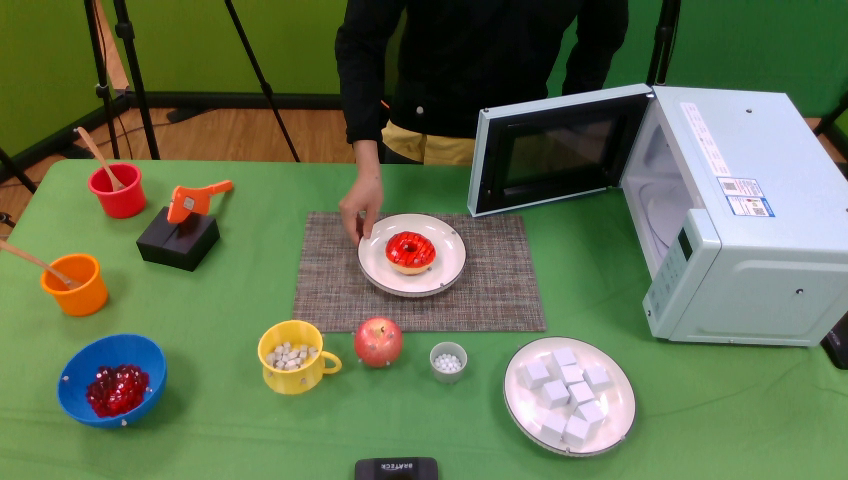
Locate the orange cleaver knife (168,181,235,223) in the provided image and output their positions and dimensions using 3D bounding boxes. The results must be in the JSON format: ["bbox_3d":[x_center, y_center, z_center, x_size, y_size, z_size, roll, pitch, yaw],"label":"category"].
[{"bbox_3d":[-0.436,-0.078,1.196,0.012,0.077,0.211,16,15,10],"label":"orange cleaver knife"}]

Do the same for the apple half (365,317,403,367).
[{"bbox_3d":[-0.063,0.165,1.000,0.053,0.075,0.080,-16,45,-24],"label":"apple half"}]

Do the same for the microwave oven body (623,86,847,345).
[{"bbox_3d":[0.567,-0.053,1.118,0.326,0.261,0.439,2,45,-1],"label":"microwave oven body"}]

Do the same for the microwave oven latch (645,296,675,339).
[{"bbox_3d":[0.412,0.134,1.061,0.030,0.029,0.078,3,45,0],"label":"microwave oven latch"}]

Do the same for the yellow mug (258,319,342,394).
[{"bbox_3d":[-0.195,0.188,0.972,0.131,0.064,0.099,9,47,4],"label":"yellow mug"}]

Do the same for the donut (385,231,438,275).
[{"bbox_3d":[-0.024,0.024,1.142,0.099,0.048,0.098,3,44,-2],"label":"donut"}]

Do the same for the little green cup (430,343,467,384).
[{"bbox_3d":[0.039,0.203,0.994,0.061,0.039,0.061,2,46,-2],"label":"little green cup"}]

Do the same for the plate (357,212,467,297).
[{"bbox_3d":[-0.023,0.031,1.149,0.209,0.038,0.208,3,46,-2],"label":"plate"}]

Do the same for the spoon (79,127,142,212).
[{"bbox_3d":[-0.624,-0.140,1.203,0.041,0.021,0.194,-33,100,-26],"label":"spoon"}]

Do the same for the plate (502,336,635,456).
[{"bbox_3d":[0.225,0.248,0.963,0.208,0.039,0.206,2,46,-2],"label":"plate"}]

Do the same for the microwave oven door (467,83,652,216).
[{"bbox_3d":[0.267,-0.181,1.214,0.356,0.245,0.039,-12,49,-15],"label":"microwave oven door"}]

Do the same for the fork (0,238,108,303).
[{"bbox_3d":[-0.633,0.048,1.017,0.208,0.018,0.028,40,43,-27],"label":"fork"}]

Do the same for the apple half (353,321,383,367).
[{"bbox_3d":[-0.098,0.177,0.984,0.033,0.081,0.081,-17,49,-25],"label":"apple half"}]

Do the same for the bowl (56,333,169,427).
[{"bbox_3d":[-0.456,0.223,0.912,0.151,0.077,0.150,3,46,-2],"label":"bowl"}]
